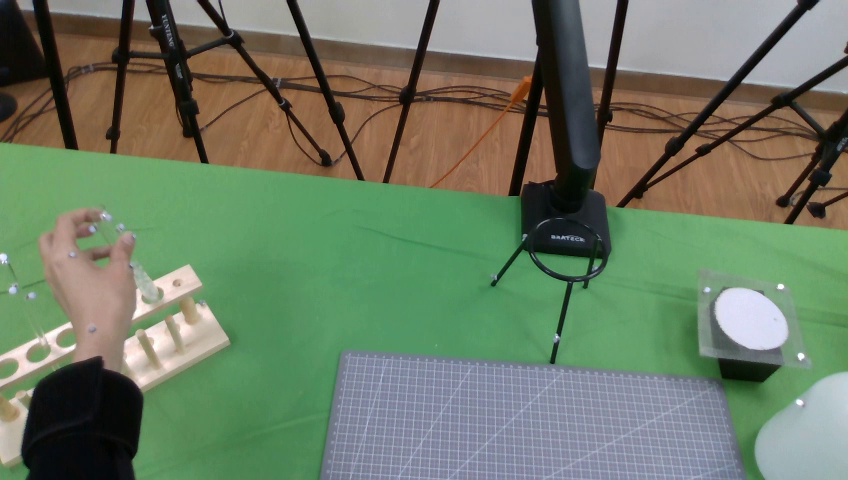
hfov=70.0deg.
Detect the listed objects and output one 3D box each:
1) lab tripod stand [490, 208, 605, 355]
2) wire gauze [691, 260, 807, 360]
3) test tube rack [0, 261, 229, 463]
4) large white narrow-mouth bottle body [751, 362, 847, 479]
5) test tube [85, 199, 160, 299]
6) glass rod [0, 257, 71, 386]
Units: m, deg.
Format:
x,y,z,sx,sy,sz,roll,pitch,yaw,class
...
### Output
x,y,z,sx,sy,sz,roll,pitch,yaw,class
0.153,0.041,0.714,0.148,0.132,0.147,3,53,-4,lab tripod stand
0.379,0.082,0.717,0.121,0.011,0.124,11,52,4,wire gauze
-0.340,0.124,0.640,0.242,0.086,0.066,-30,60,-24,test tube rack
0.410,0.177,0.590,0.102,0.196,0.101,2,52,-2,large white narrow-mouth bottle body
-0.290,0.014,0.592,0.017,0.151,0.017,0,53,0,test tube
-0.371,0.086,0.584,0.008,0.201,0.008,5,44,-5,glass rod
